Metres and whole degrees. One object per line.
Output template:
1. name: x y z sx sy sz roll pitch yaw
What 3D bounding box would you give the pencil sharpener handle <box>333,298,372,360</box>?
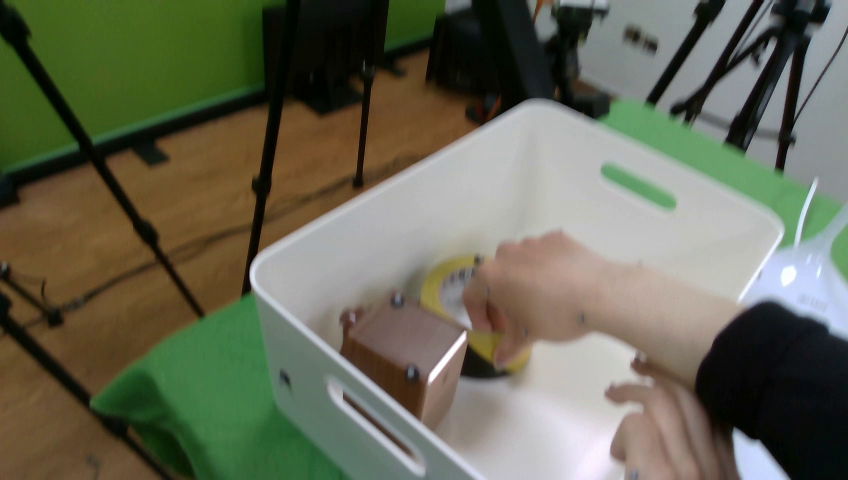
1. pencil sharpener handle: -0.065 0.068 0.460 0.030 0.068 0.036 28 16 19

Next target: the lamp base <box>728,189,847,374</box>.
1. lamp base: 0.401 0.007 0.585 0.160 0.181 0.178 15 42 5

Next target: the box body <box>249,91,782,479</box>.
1. box body: 0.080 0.052 0.493 0.252 0.161 0.364 35 49 23

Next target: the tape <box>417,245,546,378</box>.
1. tape: 0.049 0.062 0.547 0.117 0.053 0.115 5 44 -5

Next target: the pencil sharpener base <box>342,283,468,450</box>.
1. pencil sharpener base: -0.020 0.096 0.459 0.076 0.108 0.061 28 47 19

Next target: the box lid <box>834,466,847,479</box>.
1. box lid: 0.444 0.266 0.449 0.372 0.015 0.260 -22 51 -29
